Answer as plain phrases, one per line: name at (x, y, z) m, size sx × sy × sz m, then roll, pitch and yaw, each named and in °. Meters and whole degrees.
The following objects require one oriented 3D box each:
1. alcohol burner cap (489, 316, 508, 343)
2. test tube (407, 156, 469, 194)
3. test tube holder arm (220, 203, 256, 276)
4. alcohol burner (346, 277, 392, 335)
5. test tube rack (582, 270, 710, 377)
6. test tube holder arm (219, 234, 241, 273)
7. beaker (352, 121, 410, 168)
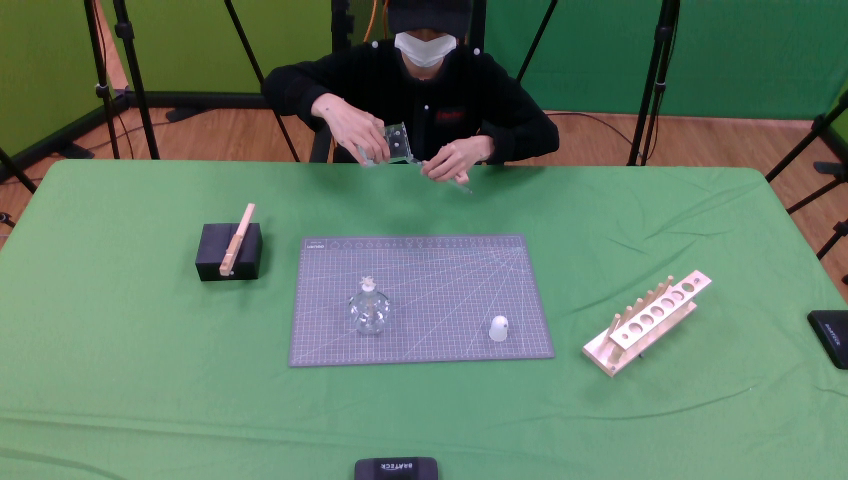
alcohol burner cap at (0.130, 0.151, 1.045) m, size 0.034 × 0.048 × 0.033 m, roll 2°, pitch 46°, yaw -2°
test tube at (0.030, -0.129, 1.216) m, size 0.151 × 0.017 × 0.017 m, roll 26°, pitch 40°, yaw -25°
test tube holder arm at (-0.340, -0.005, 1.112) m, size 0.015 × 0.013 × 0.177 m, roll 5°, pitch 46°, yaw 2°
alcohol burner at (-0.093, 0.106, 1.021) m, size 0.078 × 0.120 × 0.077 m, roll 1°, pitch 46°, yaw -1°
test tube rack at (0.389, 0.132, 1.057) m, size 0.242 × 0.085 × 0.066 m, roll -28°, pitch 54°, yaw -28°
test tube holder arm at (-0.344, 0.023, 1.076) m, size 0.015 × 0.010 × 0.087 m, roll 5°, pitch 45°, yaw 2°
beaker at (-0.081, -0.178, 1.161) m, size 0.100 × 0.084 × 0.073 m, roll -12°, pitch 34°, yaw -2°
